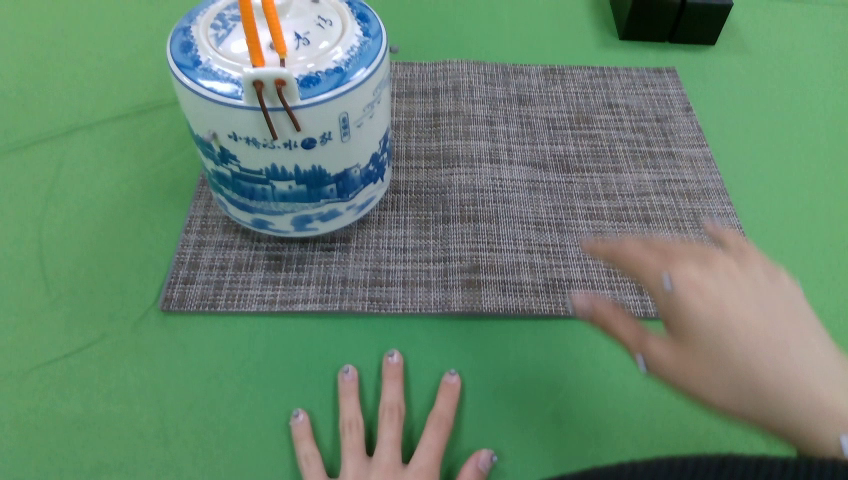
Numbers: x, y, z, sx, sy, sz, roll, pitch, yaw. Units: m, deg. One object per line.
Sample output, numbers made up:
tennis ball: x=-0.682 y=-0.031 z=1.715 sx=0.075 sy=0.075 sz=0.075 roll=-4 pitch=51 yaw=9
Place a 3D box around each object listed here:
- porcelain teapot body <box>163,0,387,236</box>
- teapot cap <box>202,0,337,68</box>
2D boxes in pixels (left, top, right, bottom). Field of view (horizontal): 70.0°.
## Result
porcelain teapot body: x=-0.102 y=-0.139 z=0.437 sx=0.145 sy=0.227 sz=0.203 roll=-4 pitch=52 yaw=-6
teapot cap: x=-0.099 y=-0.140 z=0.388 sx=0.085 sy=0.044 sz=0.084 roll=1 pitch=51 yaw=0
